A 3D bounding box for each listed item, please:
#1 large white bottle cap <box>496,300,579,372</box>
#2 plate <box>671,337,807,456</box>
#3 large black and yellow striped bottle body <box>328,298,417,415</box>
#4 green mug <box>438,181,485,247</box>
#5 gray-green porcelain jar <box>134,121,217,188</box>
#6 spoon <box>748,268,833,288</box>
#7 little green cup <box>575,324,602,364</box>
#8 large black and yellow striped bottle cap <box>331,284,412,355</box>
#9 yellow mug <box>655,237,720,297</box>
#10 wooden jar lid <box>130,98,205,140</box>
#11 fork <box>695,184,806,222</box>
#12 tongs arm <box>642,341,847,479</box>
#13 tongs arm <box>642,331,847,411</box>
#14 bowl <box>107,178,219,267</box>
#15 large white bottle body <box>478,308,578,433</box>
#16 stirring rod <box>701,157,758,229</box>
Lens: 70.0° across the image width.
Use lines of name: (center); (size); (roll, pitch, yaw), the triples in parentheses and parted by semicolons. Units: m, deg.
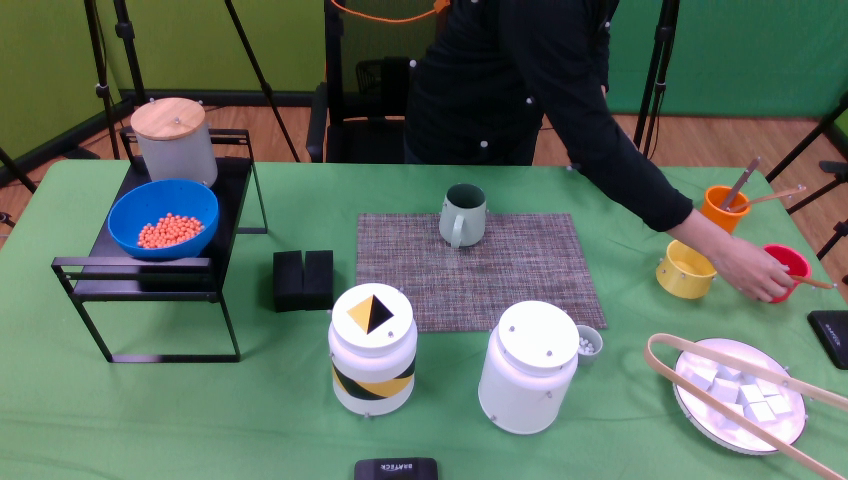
large white bottle cap: (0.159, 0.133, 0.852); (0.115, 0.018, 0.114); (3, 46, -3)
plate: (0.503, 0.254, 0.984); (0.208, 0.039, 0.206); (2, 46, -2)
large black and yellow striped bottle body: (-0.078, 0.167, 0.920); (0.131, 0.185, 0.130); (2, 46, -2)
green mug: (0.071, -0.039, 1.177); (0.092, 0.105, 0.124); (12, 47, 7)
gray-green porcelain jar: (-0.397, -0.141, 0.980); (0.106, 0.127, 0.105); (2, 47, -2)
spoon: (0.660, 0.068, 1.097); (0.041, 0.193, 0.021); (-5, 92, -6)
little green cup: (0.269, 0.179, 1.035); (0.061, 0.039, 0.061); (3, 45, -3)
large black and yellow striped bottle cap: (-0.073, 0.110, 0.858); (0.115, 0.019, 0.114); (2, 46, -2)
yellow mug: (0.509, 0.041, 1.167); (0.099, 0.064, 0.130); (23, 48, 18)
wooden jar lid: (-0.393, -0.183, 0.934); (0.108, 0.021, 0.107); (3, 44, -2)
fork: (0.658, -0.074, 1.229); (0.207, 0.019, 0.028); (-23, 35, 37)
tongs arm: (0.504, 0.278, 0.918); (0.386, 0.028, 0.028); (34, 59, 22)
tongs arm: (0.546, 0.227, 0.968); (0.384, 0.026, 0.050); (22, 52, 13)
bowl: (-0.374, -0.014, 0.893); (0.151, 0.077, 0.150); (2, 46, -2)
large white bottle body: (0.155, 0.192, 0.913); (0.131, 0.185, 0.130); (2, 46, -2)
stirring rod: (0.634, -0.097, 1.257); (0.014, 0.006, 0.176); (38, 97, 29)
